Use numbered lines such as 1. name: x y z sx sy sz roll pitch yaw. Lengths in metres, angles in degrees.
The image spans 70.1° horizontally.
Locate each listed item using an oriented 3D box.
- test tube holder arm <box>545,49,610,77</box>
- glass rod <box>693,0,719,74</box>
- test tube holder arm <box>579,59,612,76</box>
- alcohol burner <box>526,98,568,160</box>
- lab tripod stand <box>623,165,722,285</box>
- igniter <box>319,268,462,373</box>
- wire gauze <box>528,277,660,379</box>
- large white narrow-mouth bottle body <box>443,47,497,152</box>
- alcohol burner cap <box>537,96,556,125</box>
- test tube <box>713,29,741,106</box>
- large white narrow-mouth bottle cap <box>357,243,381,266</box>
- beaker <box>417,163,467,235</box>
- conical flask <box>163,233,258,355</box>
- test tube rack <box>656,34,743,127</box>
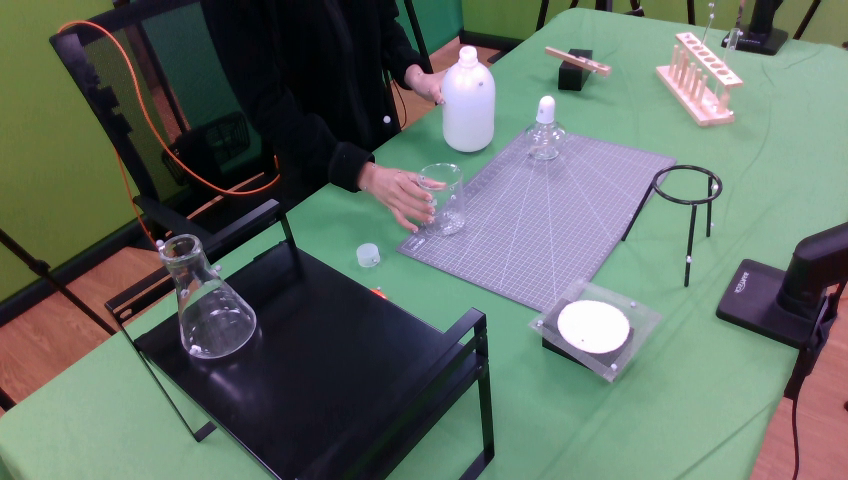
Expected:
1. test tube holder arm: 0.331 -0.387 1.315 0.013 0.015 0.177 -26 43 -29
2. glass rod: 0.560 -0.401 1.214 0.008 0.200 0.008 -1 48 2
3. test tube holder arm: 0.363 -0.368 1.289 0.010 0.015 0.087 -27 43 -29
4. alcohol burner: 0.228 -0.209 1.118 0.078 0.119 0.077 -5 43 5
5. lab tripod stand: 0.365 -0.030 0.874 0.148 0.132 0.147 -6 41 6
6. igniter: -0.059 0.107 0.862 0.274 0.025 0.057 28 62 34
7. wire gauze: 0.213 0.103 0.763 0.124 0.011 0.122 30 52 35
8. large white narrow-mouth bottle body: 0.086 -0.268 1.132 0.102 0.195 0.101 -2 48 3
9. alcohol burner cap: 0.223 -0.237 1.095 0.034 0.048 0.033 -1 42 1
10. test tube: 0.572 -0.324 1.146 0.017 0.151 0.017 -3 39 3
11. large white narrow-mouth bottle cap: -0.088 0.023 0.972 0.038 0.024 0.037 -4 41 4
12. beaker: 0.034 -0.066 0.990 0.073 0.101 0.084 25 50 34
13. conical flask: -0.217 0.051 0.601 0.075 0.122 0.075 -4 40 4
14. test tube rack: 0.553 -0.331 1.233 0.067 0.085 0.241 -7 40 2
